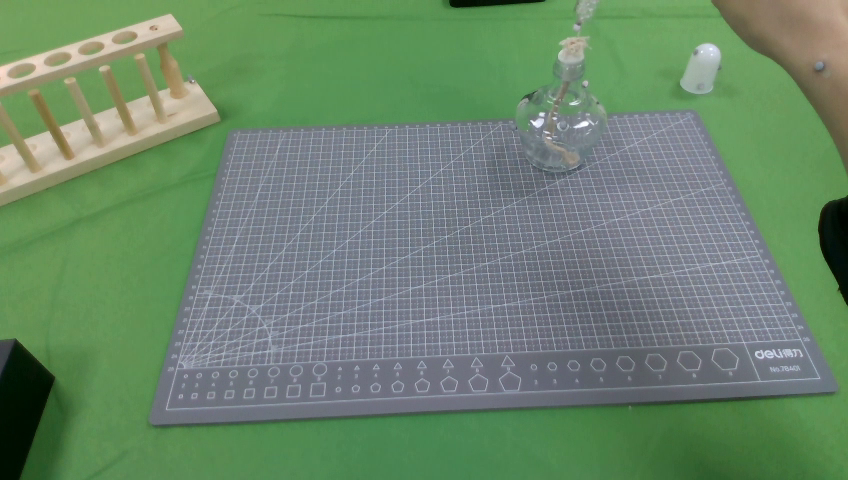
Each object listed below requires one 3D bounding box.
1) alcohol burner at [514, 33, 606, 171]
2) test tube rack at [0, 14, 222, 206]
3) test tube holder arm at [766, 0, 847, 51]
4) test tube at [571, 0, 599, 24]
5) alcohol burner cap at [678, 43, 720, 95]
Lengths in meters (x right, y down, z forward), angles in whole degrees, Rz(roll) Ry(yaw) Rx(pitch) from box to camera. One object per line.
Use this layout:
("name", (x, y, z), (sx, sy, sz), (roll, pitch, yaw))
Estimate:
("alcohol burner", (0.117, -0.117, 0.509), (0.078, 0.120, 0.077), (0, 48, 1))
("test tube rack", (-0.319, -0.113, 0.541), (0.242, 0.086, 0.066), (-27, 53, -20))
("test tube holder arm", (0.185, -0.171, 0.372), (0.177, 0.015, 0.013), (42, 55, 16))
("test tube", (0.132, -0.208, 0.394), (0.017, 0.151, 0.017), (9, 51, -10))
("alcohol burner cap", (0.276, -0.171, 0.602), (0.034, 0.048, 0.033), (-2, 49, 2))
